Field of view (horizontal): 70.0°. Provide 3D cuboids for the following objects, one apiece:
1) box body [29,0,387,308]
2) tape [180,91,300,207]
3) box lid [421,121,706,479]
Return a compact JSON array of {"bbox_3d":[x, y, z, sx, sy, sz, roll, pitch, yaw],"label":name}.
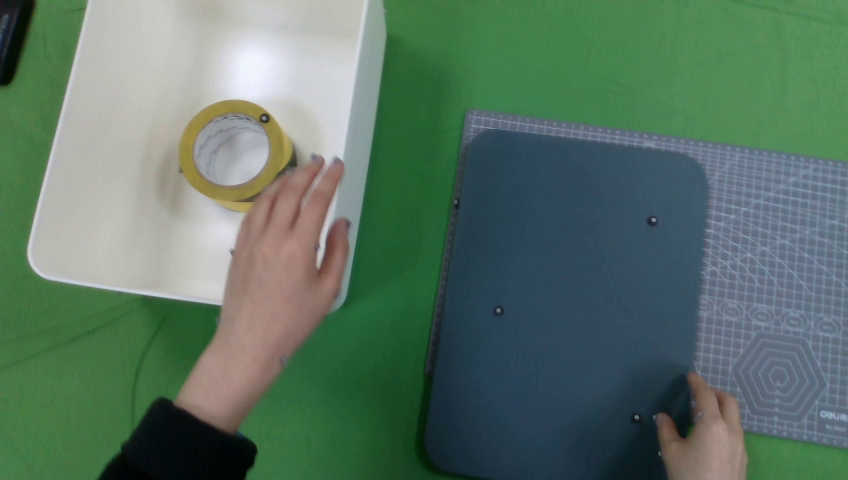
[{"bbox_3d":[-0.185,-0.121,0.604,0.254,0.161,0.363,7,81,3],"label":"box body"},{"bbox_3d":[-0.196,-0.095,0.649,0.117,0.053,0.116,-1,78,4],"label":"tape"},{"bbox_3d":[0.151,0.060,0.639,0.263,0.015,0.370,9,82,3],"label":"box lid"}]
